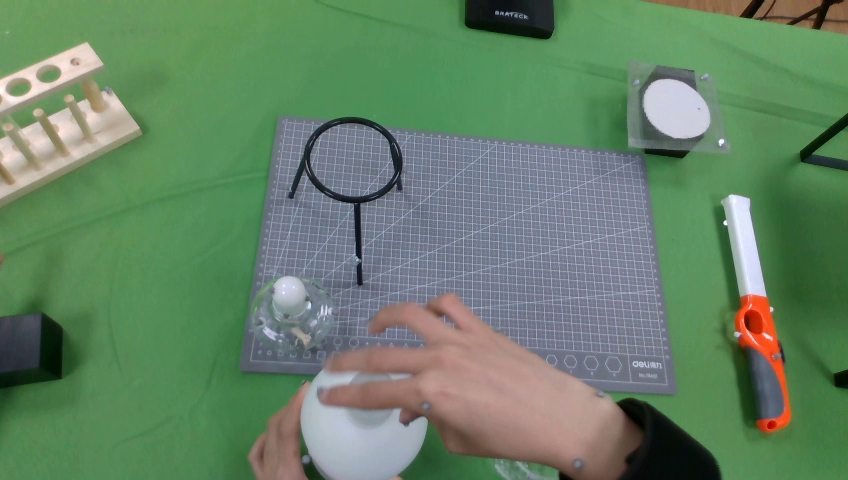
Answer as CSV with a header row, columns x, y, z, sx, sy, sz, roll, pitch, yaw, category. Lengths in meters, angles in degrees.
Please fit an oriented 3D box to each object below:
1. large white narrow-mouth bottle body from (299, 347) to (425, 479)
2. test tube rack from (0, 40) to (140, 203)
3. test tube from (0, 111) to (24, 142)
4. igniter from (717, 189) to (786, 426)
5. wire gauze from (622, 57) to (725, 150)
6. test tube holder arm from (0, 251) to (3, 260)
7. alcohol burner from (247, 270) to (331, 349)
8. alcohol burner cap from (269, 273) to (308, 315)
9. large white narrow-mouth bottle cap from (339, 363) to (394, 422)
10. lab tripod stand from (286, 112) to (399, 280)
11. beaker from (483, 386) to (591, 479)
x,y,z,sx,sy,sz,roll,pitch,yaw,category
-0.051,0.143,0.496,0.102,0.195,0.101,3,66,-7,large white narrow-mouth bottle body
-0.422,-0.097,0.599,0.242,0.085,0.066,-35,76,-21,test tube rack
-0.412,-0.140,0.566,0.017,0.151,0.017,4,61,-7,test tube
0.369,0.069,0.686,0.057,0.025,0.274,10,66,-16,igniter
0.298,-0.164,0.733,0.122,0.011,0.124,6,67,-6,wire gauze
-0.389,0.047,0.527,0.010,0.015,0.087,8,65,-5,test tube holder arm
-0.125,0.059,0.561,0.078,0.119,0.077,4,65,-9,alcohol burner
-0.119,0.046,0.528,0.034,0.048,0.033,2,72,-7,alcohol burner cap
-0.039,0.103,0.411,0.038,0.024,0.037,3,66,-7,large white narrow-mouth bottle cap
-0.073,-0.050,0.606,0.149,0.132,0.147,4,67,-9,lab tripod stand
0.095,0.179,0.556,0.084,0.101,0.073,31,65,7,beaker
